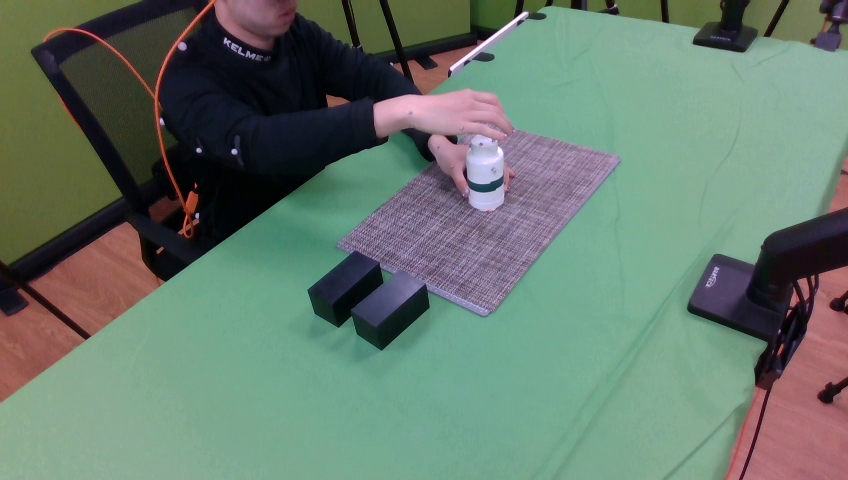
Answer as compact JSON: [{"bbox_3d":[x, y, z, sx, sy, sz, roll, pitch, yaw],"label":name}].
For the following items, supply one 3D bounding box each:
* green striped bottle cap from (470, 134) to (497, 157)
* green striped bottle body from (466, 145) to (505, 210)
[{"bbox_3d":[0.095,-0.153,0.971,0.044,0.020,0.044,-2,38,2],"label":"green striped bottle cap"},{"bbox_3d":[0.102,-0.114,1.005,0.063,0.120,0.063,-4,41,4],"label":"green striped bottle body"}]
